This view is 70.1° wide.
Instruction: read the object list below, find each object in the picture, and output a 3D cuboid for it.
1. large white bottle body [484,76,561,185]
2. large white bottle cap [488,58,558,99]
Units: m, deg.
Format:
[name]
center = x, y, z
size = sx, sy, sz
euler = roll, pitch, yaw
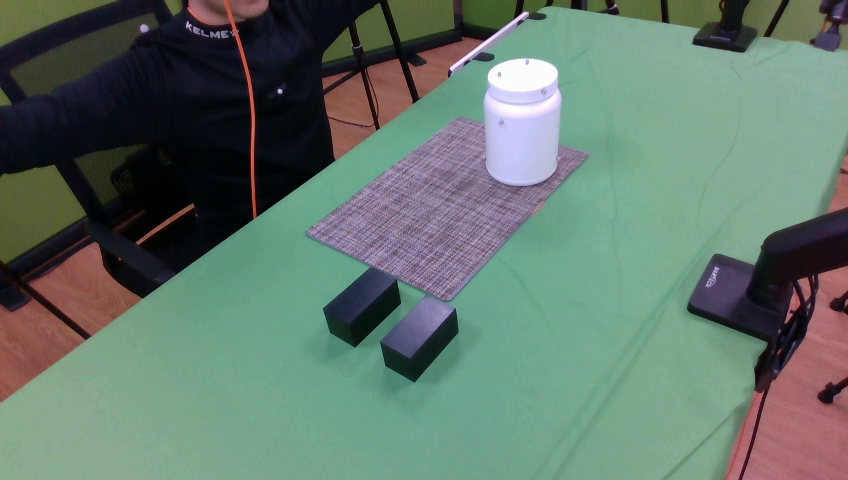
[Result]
[large white bottle body]
center = 0.170, -0.203, 1.049
size = 0.130, 0.185, 0.130
euler = -4, 41, 4
[large white bottle cap]
center = 0.162, -0.267, 0.994
size = 0.115, 0.018, 0.114
euler = -3, 41, 3
